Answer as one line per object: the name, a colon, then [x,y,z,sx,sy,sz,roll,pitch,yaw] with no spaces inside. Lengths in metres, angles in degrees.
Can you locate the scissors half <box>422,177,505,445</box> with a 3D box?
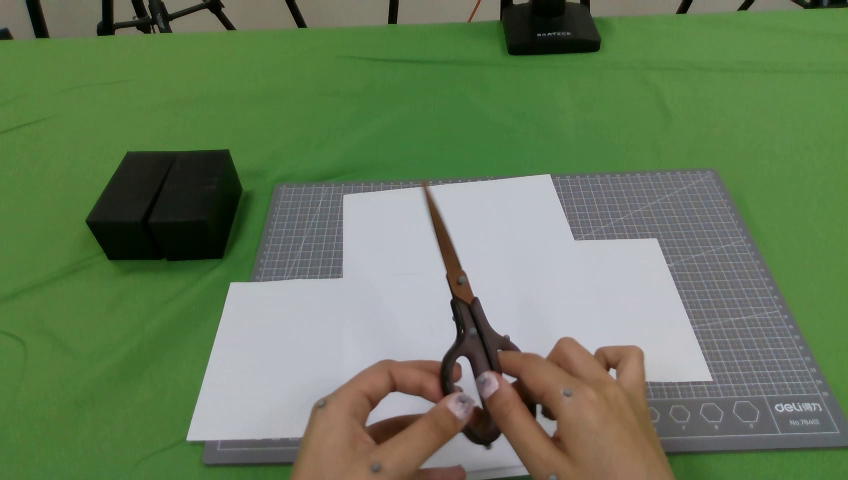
scissors half: [0.017,0.037,0.376,0.040,0.013,0.174,8,62,-41]

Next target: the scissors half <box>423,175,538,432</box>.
scissors half: [0.032,0.036,0.389,0.040,0.013,0.174,-15,78,-41]
